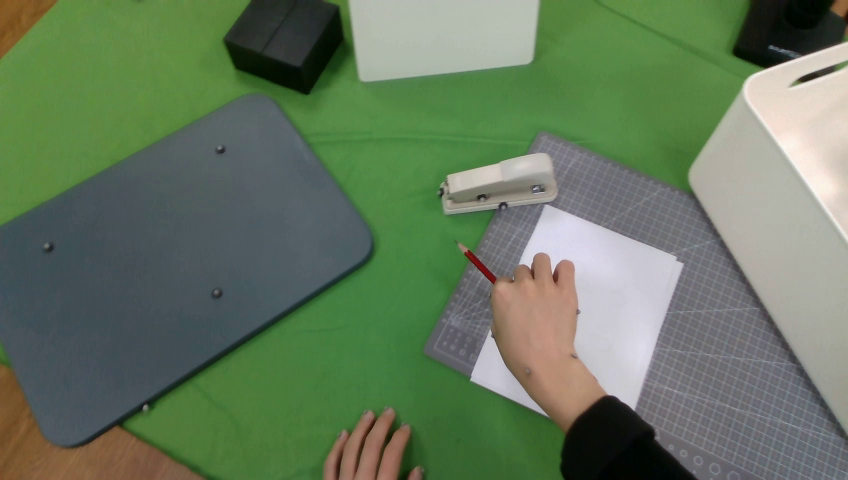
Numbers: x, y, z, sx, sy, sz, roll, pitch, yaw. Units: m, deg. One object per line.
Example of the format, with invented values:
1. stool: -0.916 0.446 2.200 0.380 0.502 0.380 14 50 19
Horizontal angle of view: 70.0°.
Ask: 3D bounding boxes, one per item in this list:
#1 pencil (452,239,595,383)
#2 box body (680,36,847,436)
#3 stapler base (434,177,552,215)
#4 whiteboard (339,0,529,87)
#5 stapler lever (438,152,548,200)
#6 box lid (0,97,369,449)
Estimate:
1. pencil: 0.093 0.066 0.593 0.012 0.012 0.193 -40 75 -16
2. box body: 0.456 -0.004 0.580 0.254 0.161 0.361 -20 68 -10
3. stapler base: 0.077 -0.058 0.673 0.130 0.024 0.041 -8 63 -1
4. whiteboard: 0.003 -0.356 0.683 0.217 0.308 0.142 -7 47 -3
5. stapler lever: 0.074 -0.068 0.650 0.118 0.040 0.026 -8 62 -1
6. box lid: -0.274 0.014 0.646 0.371 0.015 0.261 -34 71 -15
